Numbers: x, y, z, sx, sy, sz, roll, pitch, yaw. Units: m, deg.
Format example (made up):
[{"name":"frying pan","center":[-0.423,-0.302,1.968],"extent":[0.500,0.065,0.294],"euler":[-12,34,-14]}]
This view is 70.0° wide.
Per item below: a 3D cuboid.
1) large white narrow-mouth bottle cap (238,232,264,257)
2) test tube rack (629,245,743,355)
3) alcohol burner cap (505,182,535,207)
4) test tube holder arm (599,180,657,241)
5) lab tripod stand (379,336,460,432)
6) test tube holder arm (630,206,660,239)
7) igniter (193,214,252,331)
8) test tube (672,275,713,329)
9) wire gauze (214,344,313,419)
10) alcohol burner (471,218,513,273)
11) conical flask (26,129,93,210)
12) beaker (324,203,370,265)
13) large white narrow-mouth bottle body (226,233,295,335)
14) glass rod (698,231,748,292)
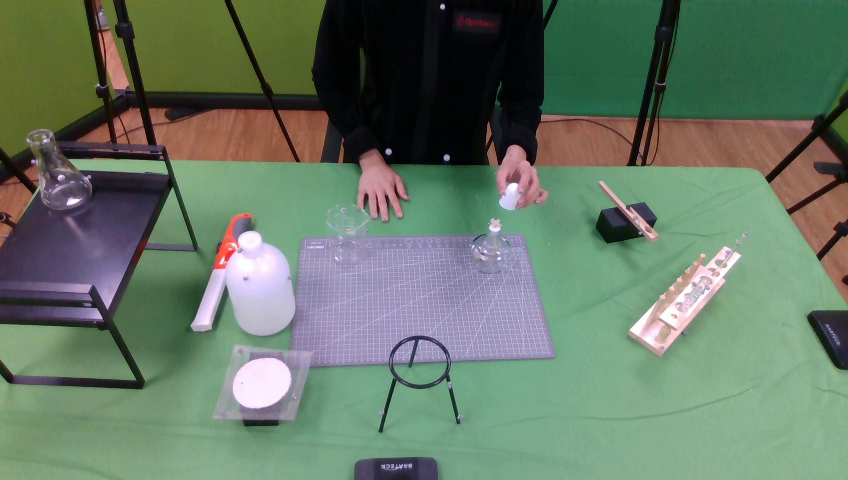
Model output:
[{"name":"large white narrow-mouth bottle cap","center":[-0.266,0.007,0.933],"extent":[0.038,0.024,0.037],"euler":[2,46,-2]},{"name":"test tube rack","center":[0.474,0.095,1.091],"extent":[0.242,0.085,0.066],"euler":[-34,56,-31]},{"name":"alcohol burner cap","center":[0.162,-0.082,1.040],"extent":[0.047,0.034,0.034],"euler":[32,52,24]},{"name":"test tube holder arm","center":[0.407,-0.062,1.219],"extent":[0.013,0.015,0.177],"euler":[-23,51,-12]},{"name":"lab tripod stand","center":[-0.010,0.214,0.911],"extent":[0.148,0.132,0.147],"euler":[1,45,0]},{"name":"test tube holder arm","center":[0.432,-0.034,1.192],"extent":[0.010,0.015,0.087],"euler":[-23,51,-12]},{"name":"igniter","center":[-0.368,0.050,1.119],"extent":[0.057,0.025,0.275],"euler":[-3,46,8]},{"name":"test tube","center":[0.438,0.106,1.007],"extent":[0.017,0.151,0.017],"euler":[4,51,-4]},{"name":"wire gauze","center":[-0.241,0.213,0.915],"extent":[0.121,0.011,0.124],"euler":[5,46,1]},{"name":"alcohol burner","center":[0.128,0.005,1.132],"extent":[0.078,0.120,0.077],"euler":[0,47,0]},{"name":"conical flask","center":[-0.575,-0.113,0.946],"extent":[0.075,0.122,0.075],"euler":[2,46,-2]},{"name":"beaker","center":[-0.142,-0.009,1.137],"extent":[0.084,0.101,0.073],"euler":[-3,47,-7]},{"name":"large white narrow-mouth bottle body","center":[-0.270,0.065,0.995],"extent":[0.102,0.195,0.101],"euler":[2,46,-2]},{"name":"glass rod","center":[0.514,0.044,1.051],"extent":[0.008,0.200,0.008],"euler":[1,55,-1]}]
